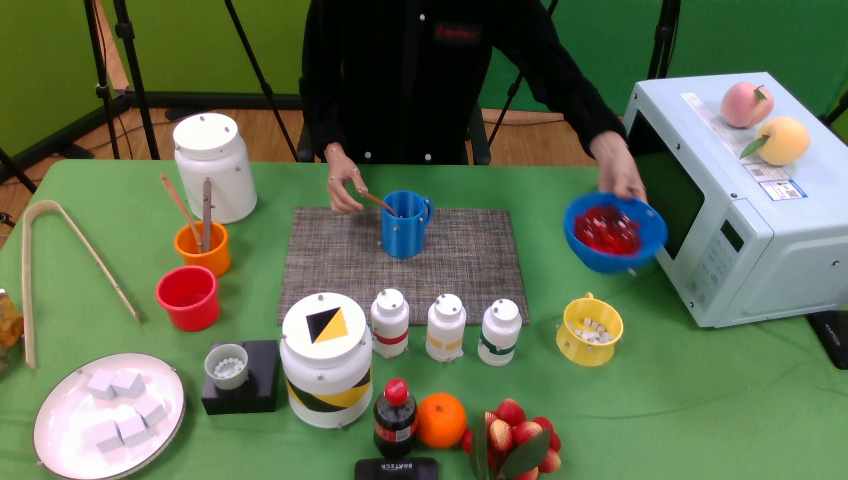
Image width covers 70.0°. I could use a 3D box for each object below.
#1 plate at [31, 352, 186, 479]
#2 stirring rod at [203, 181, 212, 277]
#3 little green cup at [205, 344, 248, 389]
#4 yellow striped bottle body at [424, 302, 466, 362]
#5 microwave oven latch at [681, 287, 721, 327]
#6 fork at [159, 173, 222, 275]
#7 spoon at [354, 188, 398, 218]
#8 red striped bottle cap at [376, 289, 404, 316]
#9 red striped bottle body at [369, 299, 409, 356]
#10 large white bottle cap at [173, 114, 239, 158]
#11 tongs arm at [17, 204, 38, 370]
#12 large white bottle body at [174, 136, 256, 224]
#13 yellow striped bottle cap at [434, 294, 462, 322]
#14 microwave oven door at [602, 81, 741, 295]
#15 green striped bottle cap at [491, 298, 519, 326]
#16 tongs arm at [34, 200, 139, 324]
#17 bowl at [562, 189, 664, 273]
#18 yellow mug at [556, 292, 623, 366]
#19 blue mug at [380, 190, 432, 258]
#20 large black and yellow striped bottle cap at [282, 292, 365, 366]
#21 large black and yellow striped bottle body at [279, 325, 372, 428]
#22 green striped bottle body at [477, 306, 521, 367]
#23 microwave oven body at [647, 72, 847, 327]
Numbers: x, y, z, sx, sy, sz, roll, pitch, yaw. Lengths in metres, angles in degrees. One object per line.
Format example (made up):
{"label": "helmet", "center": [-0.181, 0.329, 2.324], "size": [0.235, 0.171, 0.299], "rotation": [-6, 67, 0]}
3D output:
{"label": "plate", "center": [-0.459, 0.262, 0.898], "size": [0.209, 0.038, 0.208], "rotation": [2, 46, -2]}
{"label": "stirring rod", "center": [-0.396, -0.021, 1.108], "size": [0.014, 0.006, 0.176], "rotation": [-1, 89, -1]}
{"label": "little green cup", "center": [-0.294, 0.191, 0.909], "size": [0.061, 0.039, 0.061], "rotation": [2, 47, -2]}
{"label": "yellow striped bottle body", "center": [0.035, 0.143, 0.995], "size": [0.063, 0.121, 0.062], "rotation": [2, 46, -2]}
{"label": "microwave oven latch", "center": [0.494, 0.119, 1.087], "size": [0.030, 0.029, 0.078], "rotation": [-6, 46, -9]}
{"label": "fork", "center": [-0.427, -0.029, 1.103], "size": [0.028, 0.018, 0.207], "rotation": [-31, 99, -30]}
{"label": "spoon", "center": [-0.068, -0.055, 1.122], "size": [0.021, 0.195, 0.041], "rotation": [-43, 50, 6]}
{"label": "red striped bottle cap", "center": [-0.054, 0.098, 0.958], "size": [0.044, 0.018, 0.044], "rotation": [0, 48, 0]}
{"label": "red striped bottle body", "center": [-0.058, 0.134, 0.997], "size": [0.063, 0.120, 0.062], "rotation": [4, 47, -4]}
{"label": "large white bottle cap", "center": [-0.403, -0.195, 1.122], "size": [0.115, 0.018, 0.114], "rotation": [2, 47, -2]}
{"label": "tongs arm", "center": [-0.698, 0.069, 1.068], "size": [0.028, 0.028, 0.385], "rotation": [-20, 50, -13]}
{"label": "large white bottle body", "center": [-0.408, -0.137, 1.183], "size": [0.131, 0.185, 0.130], "rotation": [2, 46, -2]}
{"label": "yellow striped bottle cap", "center": [0.037, 0.107, 0.958], "size": [0.044, 0.019, 0.044], "rotation": [2, 45, -2]}
{"label": "microwave oven door", "center": [0.456, -0.107, 1.162], "size": [0.039, 0.245, 0.353], "rotation": [-6, 47, -11]}
{"label": "green striped bottle cap", "center": [0.128, 0.114, 0.958], "size": [0.044, 0.020, 0.044], "rotation": [1, 47, 0]}
{"label": "tongs arm", "center": [-0.622, 0.034, 1.105], "size": [0.051, 0.026, 0.382], "rotation": [-32, 56, -26]}
{"label": "bowl", "center": [0.285, -0.002, 0.942], "size": [0.151, 0.077, 0.150], "rotation": [0, 44, 0]}
{"label": "yellow mug", "center": [0.285, 0.146, 1.051], "size": [0.100, 0.064, 0.130], "rotation": [7, 45, 3]}
{"label": "blue mug", "center": [-0.031, -0.037, 1.169], "size": [0.116, 0.106, 0.082], "rotation": [-28, 55, -28]}
{"label": "large black and yellow striped bottle cap", "center": [-0.139, 0.121, 0.841], "size": [0.115, 0.019, 0.114], "rotation": [3, 47, -3]}
{"label": "large black and yellow striped bottle body", "center": [-0.143, 0.181, 0.900], "size": [0.131, 0.185, 0.130], "rotation": [2, 46, -2]}
{"label": "green striped bottle body", "center": [0.124, 0.151, 0.995], "size": [0.063, 0.120, 0.063], "rotation": [2, 46, -2]}
{"label": "microwave oven body", "center": [0.607, -0.089, 1.164], "size": [0.326, 0.261, 0.438], "rotation": [-7, 46, -10]}
